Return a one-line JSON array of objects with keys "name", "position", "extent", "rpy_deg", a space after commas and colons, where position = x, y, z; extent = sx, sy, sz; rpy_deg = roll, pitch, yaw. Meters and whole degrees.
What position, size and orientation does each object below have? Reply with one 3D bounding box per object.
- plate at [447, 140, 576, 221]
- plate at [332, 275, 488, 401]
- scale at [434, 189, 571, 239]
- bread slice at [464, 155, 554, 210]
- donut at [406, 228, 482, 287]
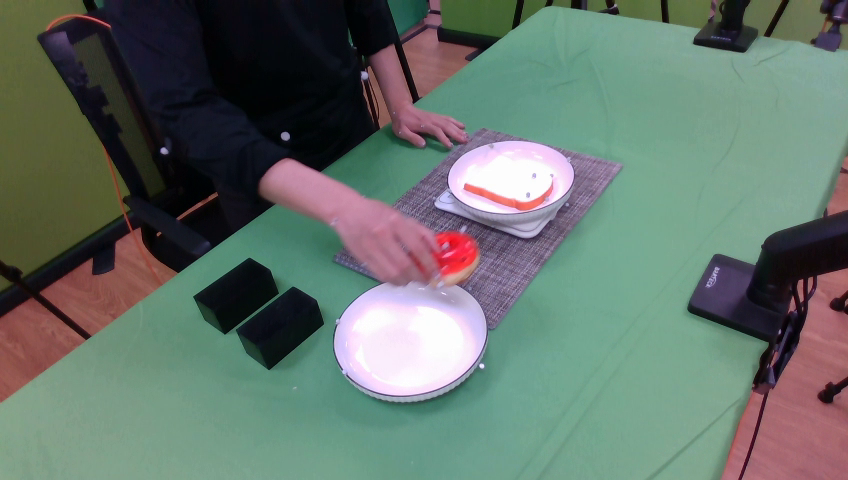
[{"name": "plate", "position": [0.143, -0.094, 0.995], "extent": [0.209, 0.038, 0.208], "rpy_deg": [-4, 41, 4]}, {"name": "plate", "position": [-0.017, 0.131, 0.808], "extent": [0.207, 0.039, 0.206], "rpy_deg": [-4, 41, 4]}, {"name": "scale", "position": [0.132, -0.075, 1.025], "extent": [0.199, 0.032, 0.149], "rpy_deg": [22, 48, 30]}, {"name": "bread slice", "position": [0.149, -0.095, 0.998], "extent": [0.130, 0.019, 0.105], "rpy_deg": [25, 51, 32]}, {"name": "donut", "position": [0.026, 0.020, 0.767], "extent": [0.099, 0.048, 0.098], "rpy_deg": [-10, 30, 7]}]
